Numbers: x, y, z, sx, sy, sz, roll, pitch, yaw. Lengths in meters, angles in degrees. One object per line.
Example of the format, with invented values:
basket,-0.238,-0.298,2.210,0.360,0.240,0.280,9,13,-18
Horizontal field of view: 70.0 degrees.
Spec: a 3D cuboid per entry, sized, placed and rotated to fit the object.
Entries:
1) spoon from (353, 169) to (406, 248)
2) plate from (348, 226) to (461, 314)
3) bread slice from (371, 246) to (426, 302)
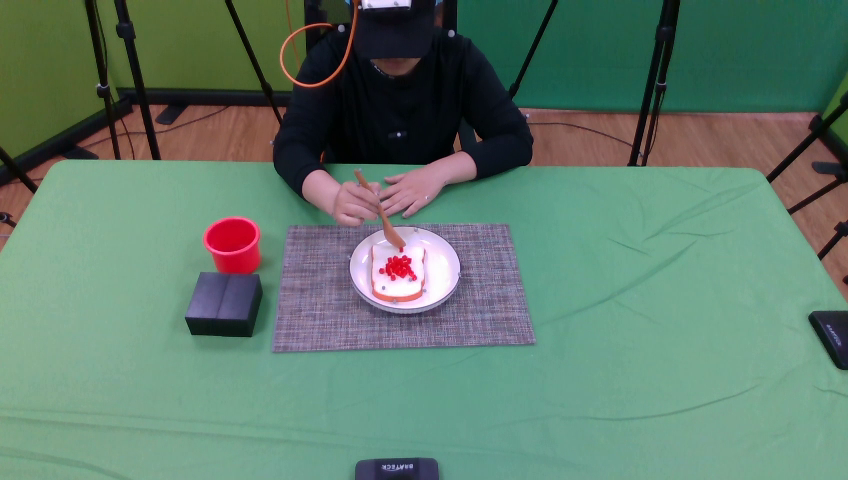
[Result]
spoon,-0.082,-0.053,1.095,0.041,0.195,0.021,6,45,39
plate,-0.035,0.058,1.123,0.209,0.038,0.208,2,46,-2
bread slice,-0.047,0.060,1.123,0.105,0.019,0.130,0,45,-3
